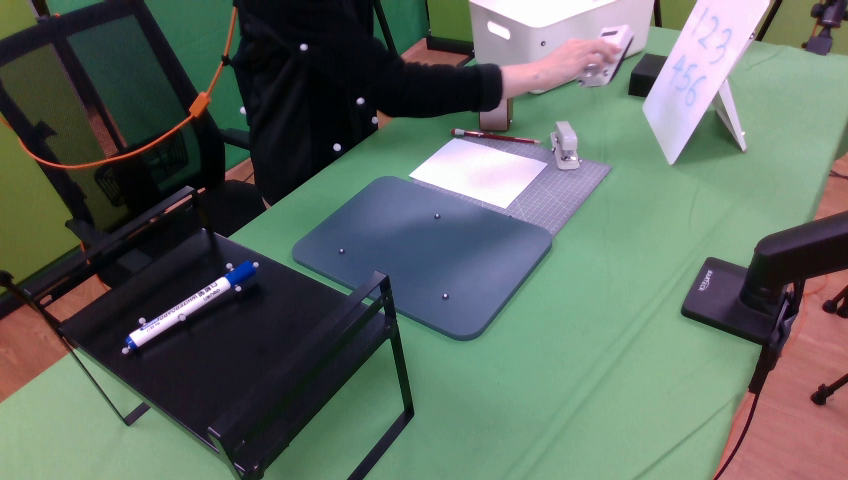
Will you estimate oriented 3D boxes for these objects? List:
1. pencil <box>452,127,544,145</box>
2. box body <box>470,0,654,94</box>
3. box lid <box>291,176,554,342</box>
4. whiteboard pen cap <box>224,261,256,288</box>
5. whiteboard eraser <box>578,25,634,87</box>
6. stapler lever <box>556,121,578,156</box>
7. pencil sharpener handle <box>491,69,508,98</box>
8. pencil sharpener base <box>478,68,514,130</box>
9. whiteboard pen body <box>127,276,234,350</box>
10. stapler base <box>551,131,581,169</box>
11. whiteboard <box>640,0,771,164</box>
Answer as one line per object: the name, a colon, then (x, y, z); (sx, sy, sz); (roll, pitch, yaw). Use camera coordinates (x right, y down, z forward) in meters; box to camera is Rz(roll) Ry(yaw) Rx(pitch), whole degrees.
pencil: (0.145, -0.206, 1.204); (0.193, 0.012, 0.012); (14, 45, 22)
box body: (0.319, -0.498, 1.405); (0.365, 0.161, 0.252); (-26, 43, -21)
box lid: (-0.005, 0.011, 0.972); (0.368, 0.015, 0.264); (21, 49, 30)
whiteboard pen cap: (-0.207, 0.039, 0.677); (0.033, 0.018, 0.018); (-36, 47, -18)
whiteboard eraser: (0.307, -0.305, 1.015); (0.055, 0.042, 0.112); (14, 69, 49)
stapler lever: (0.266, -0.198, 1.128); (0.027, 0.040, 0.117); (0, 37, 3)
pencil sharpener handle: (0.155, -0.330, 1.254); (0.036, 0.068, 0.030); (19, 44, 2)
pencil sharpener base: (0.148, -0.286, 1.225); (0.061, 0.107, 0.076); (5, 42, 15)
whiteboard pen body: (-0.251, 0.070, 0.649); (0.141, 0.017, 0.017); (-36, 48, -26)
stapler base: (0.268, -0.178, 1.142); (0.041, 0.024, 0.130); (0, 37, 3)
whiteboard: (0.543, -0.299, 1.076); (0.144, 0.305, 0.216); (12, 40, -7)
